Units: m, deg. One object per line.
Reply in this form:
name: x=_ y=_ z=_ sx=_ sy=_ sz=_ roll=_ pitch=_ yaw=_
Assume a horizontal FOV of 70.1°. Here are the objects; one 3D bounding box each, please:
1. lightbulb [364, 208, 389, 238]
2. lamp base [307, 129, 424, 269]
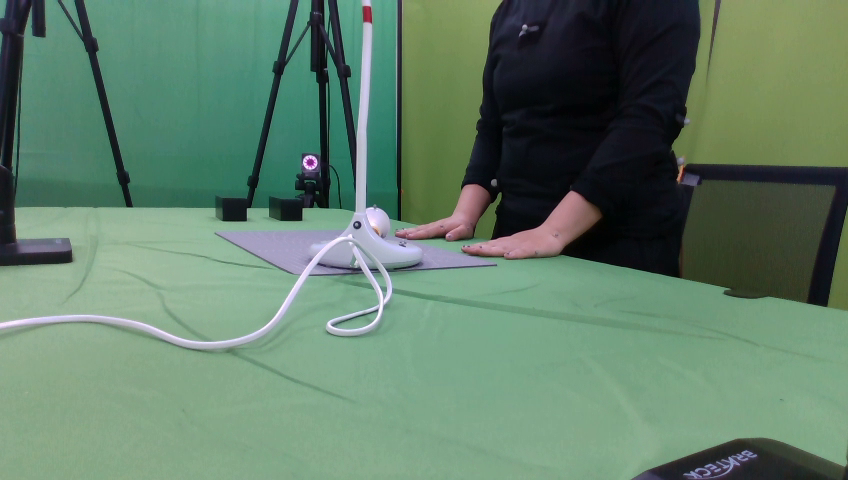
lightbulb: x=-0.089 y=-0.017 z=1.019 sx=0.059 sy=0.059 sz=0.107 roll=3 pitch=23 yaw=-2
lamp base: x=-0.077 y=-0.057 z=0.811 sx=0.161 sy=0.180 sz=0.179 roll=2 pitch=10 yaw=-4
